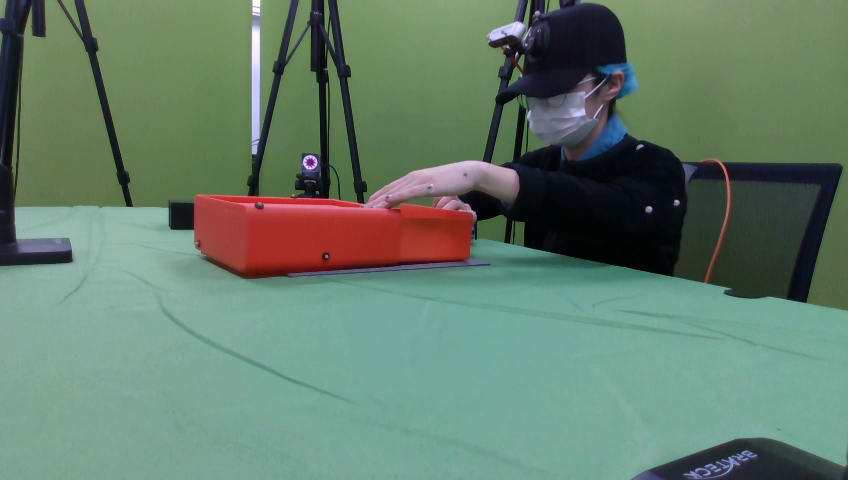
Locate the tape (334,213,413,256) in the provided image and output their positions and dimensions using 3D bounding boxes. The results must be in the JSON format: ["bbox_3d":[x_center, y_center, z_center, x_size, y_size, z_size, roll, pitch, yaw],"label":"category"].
[{"bbox_3d":[-0.074,-0.010,0.888,0.117,0.052,0.117,2,7,0],"label":"tape"}]

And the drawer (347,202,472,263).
[{"bbox_3d":[-0.070,-0.016,0.891,0.213,0.073,0.193,-3,9,-35],"label":"drawer"}]

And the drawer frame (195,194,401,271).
[{"bbox_3d":[-0.172,-0.017,0.815,0.215,0.082,0.200,-3,9,-37],"label":"drawer frame"}]
